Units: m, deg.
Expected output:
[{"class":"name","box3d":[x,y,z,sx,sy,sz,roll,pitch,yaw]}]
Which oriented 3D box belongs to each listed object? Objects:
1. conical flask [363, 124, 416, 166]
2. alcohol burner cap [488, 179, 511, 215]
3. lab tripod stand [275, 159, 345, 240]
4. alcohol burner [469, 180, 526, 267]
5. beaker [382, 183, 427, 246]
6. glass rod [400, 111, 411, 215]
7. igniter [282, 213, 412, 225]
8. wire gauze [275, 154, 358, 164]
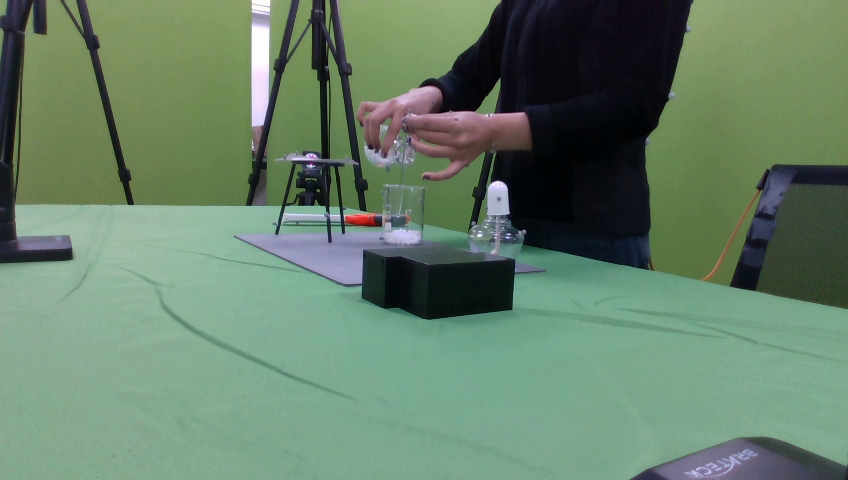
[{"class":"conical flask","box3d":[-0.053,-0.156,1.031,0.075,0.075,0.121,-1,15,-24]},{"class":"alcohol burner cap","box3d":[0.101,-0.058,0.816,0.034,0.048,0.034,-4,9,1]},{"class":"lab tripod stand","box3d":[-0.181,-0.072,1.039,0.148,0.131,0.148,4,8,0]},{"class":"alcohol burner","box3d":[0.101,-0.022,0.821,0.078,0.119,0.078,4,8,0]},{"class":"beaker","box3d":[-0.033,-0.044,1.008,0.074,0.100,0.084,6,7,22]},{"class":"glass rod","box3d":[-0.030,-0.119,0.974,0.008,0.200,0.008,4,41,-3]},{"class":"igniter","box3d":[-0.159,-0.046,1.286,0.278,0.025,0.057,0,-3,-22]},{"class":"wire gauze","box3d":[-0.179,-0.137,1.028,0.121,0.011,0.125,4,8,0]}]
